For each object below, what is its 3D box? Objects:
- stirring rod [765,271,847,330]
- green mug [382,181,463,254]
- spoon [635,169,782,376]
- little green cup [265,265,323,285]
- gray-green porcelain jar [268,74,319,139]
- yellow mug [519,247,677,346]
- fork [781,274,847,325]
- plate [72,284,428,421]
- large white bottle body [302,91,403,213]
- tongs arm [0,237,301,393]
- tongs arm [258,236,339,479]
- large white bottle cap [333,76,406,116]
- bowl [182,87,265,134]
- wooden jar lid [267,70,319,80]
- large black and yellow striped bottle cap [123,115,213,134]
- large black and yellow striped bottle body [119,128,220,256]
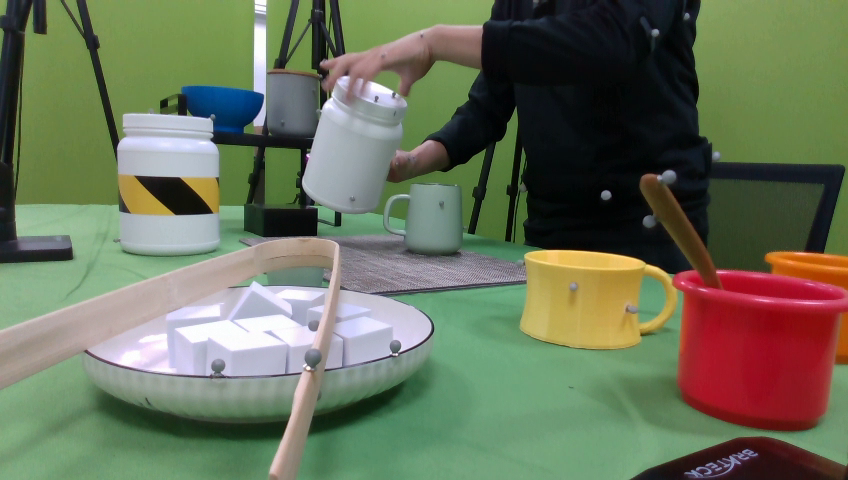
[{"bbox_3d":[0.352,0.020,0.481,0.176,0.006,0.014,-40,-7,17],"label":"stirring rod"},{"bbox_3d":[-0.001,-0.036,0.922,0.126,0.105,0.092,0,8,-16],"label":"green mug"},{"bbox_3d":[0.161,0.026,0.346,0.041,0.194,0.021,10,56,53],"label":"spoon"},{"bbox_3d":[-0.134,0.034,0.627,0.061,0.038,0.061,3,6,0],"label":"little green cup"},{"bbox_3d":[-0.277,-0.279,1.280,0.106,0.126,0.106,2,7,0],"label":"gray-green porcelain jar"},{"bbox_3d":[0.148,0.045,0.513,0.131,0.064,0.100,3,7,0],"label":"yellow mug"},{"bbox_3d":[0.332,0.018,0.443,0.028,0.018,0.207,-3,-35,-16],"label":"fork"},{"bbox_3d":[-0.102,0.067,0.381,0.208,0.039,0.207,3,7,0],"label":"plate"},{"bbox_3d":[-0.111,-0.150,0.969,0.131,0.184,0.130,17,26,-9],"label":"large white bottle body"},{"bbox_3d":[-0.157,0.038,0.347,0.028,0.028,0.388,-3,8,11],"label":"tongs arm"},{"bbox_3d":[-0.074,0.040,0.345,0.051,0.026,0.384,-2,9,-3],"label":"tongs arm"},{"bbox_3d":[-0.083,-0.222,0.931,0.115,0.018,0.114,18,27,-9],"label":"large white bottle cap"},{"bbox_3d":[-0.383,-0.244,1.158,0.151,0.077,0.151,2,7,0],"label":"bowl"},{"bbox_3d":[-0.275,-0.339,1.271,0.108,0.020,0.108,5,6,0],"label":"wooden jar lid"},{"bbox_3d":[-0.353,-0.159,0.838,0.115,0.019,0.115,2,6,0],"label":"large black and yellow striped bottle cap"},{"bbox_3d":[-0.355,-0.076,0.850,0.131,0.184,0.130,2,8,0],"label":"large black and yellow striped bottle body"}]
